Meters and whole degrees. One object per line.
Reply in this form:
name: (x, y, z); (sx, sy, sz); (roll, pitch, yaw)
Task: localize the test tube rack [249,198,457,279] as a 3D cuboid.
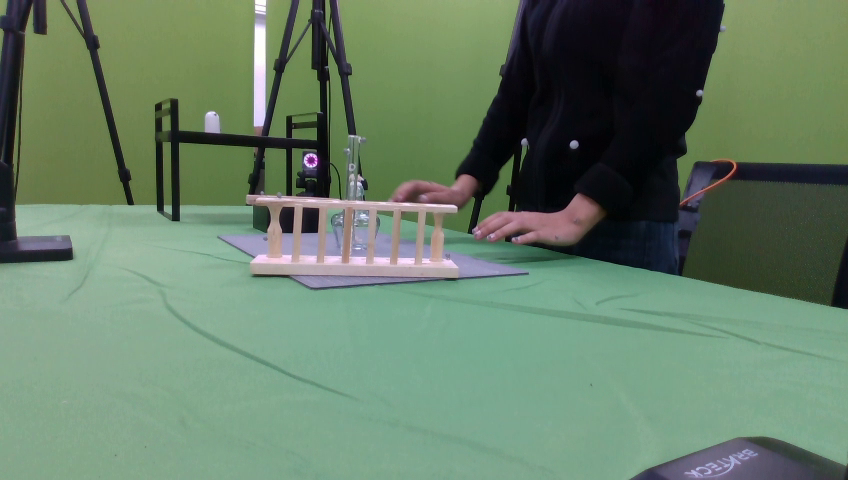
test tube rack: (-0.082, -0.002, 0.732); (0.243, 0.085, 0.066); (2, 8, -8)

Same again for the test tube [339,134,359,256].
test tube: (-0.092, -0.054, 0.743); (0.017, 0.150, 0.017); (4, 5, 0)

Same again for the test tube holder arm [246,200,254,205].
test tube holder arm: (-0.283, -0.072, 1.118); (0.088, 0.010, 0.015); (-6, 21, -31)

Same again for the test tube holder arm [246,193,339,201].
test tube holder arm: (-0.244, -0.081, 1.140); (0.179, 0.013, 0.015); (-6, 21, -31)

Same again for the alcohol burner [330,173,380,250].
alcohol burner: (-0.107, -0.044, 0.938); (0.078, 0.119, 0.078); (1, 6, 0)

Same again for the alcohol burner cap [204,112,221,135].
alcohol burner cap: (-0.444, -0.245, 1.270); (0.034, 0.048, 0.034); (4, 8, 0)
